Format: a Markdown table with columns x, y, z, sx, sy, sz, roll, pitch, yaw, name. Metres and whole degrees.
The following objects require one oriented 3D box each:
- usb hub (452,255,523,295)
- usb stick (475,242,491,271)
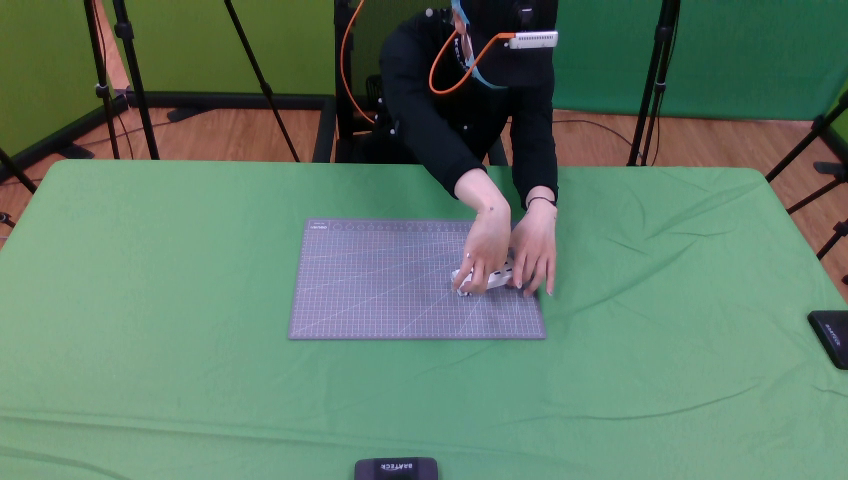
| x | y | z | sx | sy | sz | roll | pitch | yaw | name |
| --- | --- | --- | --- | --- | --- | --- | --- | --- | --- |
| 0.119 | 0.065 | 1.132 | 0.125 | 0.025 | 0.049 | -14 | 49 | -15 | usb hub |
| 0.109 | 0.036 | 1.108 | 0.021 | 0.059 | 0.027 | -20 | 43 | -18 | usb stick |
